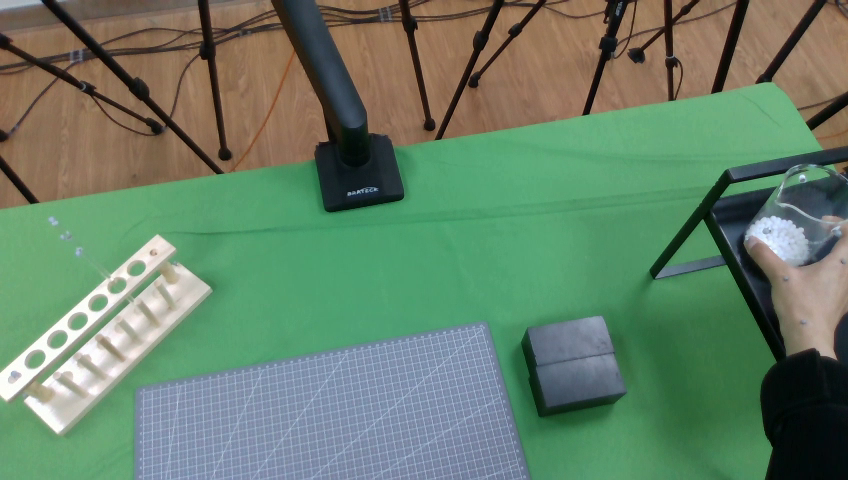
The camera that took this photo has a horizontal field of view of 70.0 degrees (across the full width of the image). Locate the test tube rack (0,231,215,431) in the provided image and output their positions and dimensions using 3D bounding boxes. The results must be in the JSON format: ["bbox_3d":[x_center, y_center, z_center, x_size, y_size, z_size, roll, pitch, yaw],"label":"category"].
[{"bbox_3d":[-0.381,0.109,0.743,0.066,0.086,0.242,34,66,16],"label":"test tube rack"}]

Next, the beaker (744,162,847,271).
[{"bbox_3d":[0.384,-0.019,0.627,0.084,0.101,0.073,-7,56,-5],"label":"beaker"}]

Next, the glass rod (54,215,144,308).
[{"bbox_3d":[-0.374,0.032,0.709,0.008,0.201,0.008,-2,56,3],"label":"glass rod"}]
